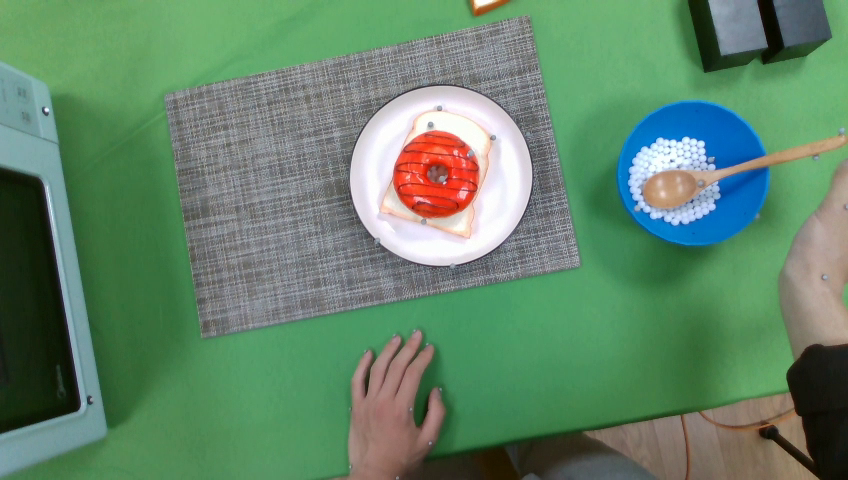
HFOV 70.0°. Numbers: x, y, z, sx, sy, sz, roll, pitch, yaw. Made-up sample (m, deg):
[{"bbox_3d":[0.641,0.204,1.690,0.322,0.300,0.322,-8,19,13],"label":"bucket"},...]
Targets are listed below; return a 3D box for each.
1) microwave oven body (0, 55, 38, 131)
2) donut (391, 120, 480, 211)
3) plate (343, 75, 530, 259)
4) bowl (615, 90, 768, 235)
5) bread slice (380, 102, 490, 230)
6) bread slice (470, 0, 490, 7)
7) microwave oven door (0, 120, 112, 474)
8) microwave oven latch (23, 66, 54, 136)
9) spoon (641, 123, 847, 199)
[{"bbox_3d":[-0.578,0.037,0.616,0.326,0.260,0.440,-13,86,3],"label":"microwave oven body"},{"bbox_3d":[0.012,-0.081,0.660,0.099,0.048,0.099,0,87,5],"label":"donut"},{"bbox_3d":[0.014,-0.081,0.688,0.207,0.039,0.207,0,87,4],"label":"plate"},{"bbox_3d":[0.274,-0.076,0.651,0.151,0.077,0.151,0,86,4],"label":"bowl"},{"bbox_3d":[0.016,-0.088,0.689,0.107,0.018,0.134,14,88,5],"label":"bread slice"},{"bbox_3d":[0.077,-0.354,0.713,0.105,0.019,0.131,-25,86,2],"label":"bread slice"},{"bbox_3d":[-0.426,0.045,0.599,0.039,0.244,0.355,-14,86,4],"label":"microwave oven door"},{"bbox_3d":[-0.464,-0.161,0.715,0.030,0.029,0.079,-13,87,3],"label":"microwave oven latch"},{"bbox_3d":[0.321,-0.083,0.617,0.193,0.022,0.041,-16,80,25],"label":"spoon"}]
